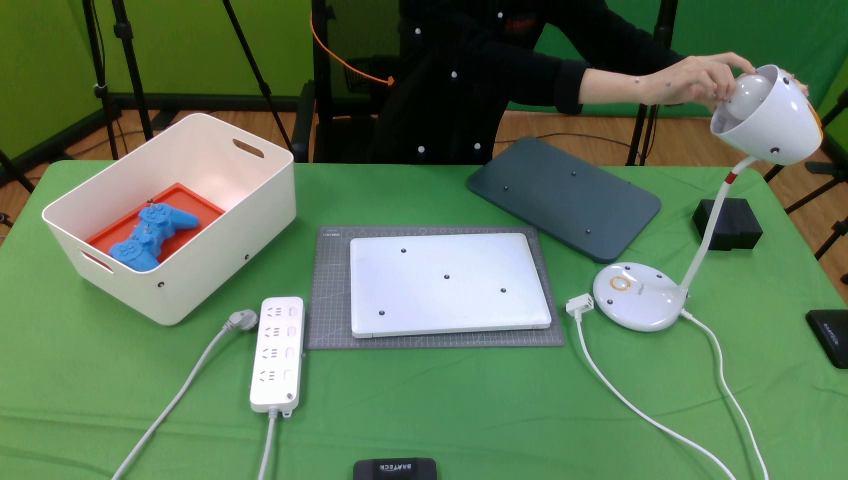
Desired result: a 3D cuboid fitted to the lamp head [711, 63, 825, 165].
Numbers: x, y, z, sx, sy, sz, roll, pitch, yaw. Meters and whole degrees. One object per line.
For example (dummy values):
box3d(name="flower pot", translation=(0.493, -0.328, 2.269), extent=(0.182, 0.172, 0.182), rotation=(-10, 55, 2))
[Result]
box3d(name="lamp head", translation=(0.466, -0.154, 0.812), extent=(0.123, 0.112, 0.112), rotation=(37, 47, -13))

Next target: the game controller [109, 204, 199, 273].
box3d(name="game controller", translation=(-0.467, -0.005, 1.044), extent=(0.097, 0.052, 0.154), rotation=(8, 45, 10))

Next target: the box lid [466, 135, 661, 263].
box3d(name="box lid", translation=(0.306, -0.102, 1.327), extent=(0.370, 0.015, 0.263), rotation=(32, 52, 25))

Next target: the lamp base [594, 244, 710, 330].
box3d(name="lamp base", translation=(0.412, 0.052, 1.070), extent=(0.179, 0.181, 0.160), rotation=(18, 48, 9))

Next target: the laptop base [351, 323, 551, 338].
box3d(name="laptop base", translation=(0.040, 0.080, 1.125), extent=(0.355, 0.023, 0.234), rotation=(-2, 43, -6))

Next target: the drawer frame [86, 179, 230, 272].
box3d(name="drawer frame", translation=(-0.453, 0.010, 1.100), extent=(0.201, 0.083, 0.213), rotation=(28, 55, 22))

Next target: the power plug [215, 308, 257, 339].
box3d(name="power plug", translation=(-0.317, 0.143, 1.024), extent=(0.072, 0.053, 0.035), rotation=(-32, 57, -9))

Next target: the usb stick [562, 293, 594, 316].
box3d(name="usb stick", translation=(0.274, 0.118, 1.087), extent=(0.021, 0.059, 0.027), rotation=(38, 45, -27))

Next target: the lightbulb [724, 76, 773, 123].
box3d(name="lightbulb", translation=(0.444, -0.167, 0.806), extent=(0.108, 0.059, 0.059), rotation=(53, 54, -9))

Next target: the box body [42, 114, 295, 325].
box3d(name="box body", translation=(-0.437, -0.046, 1.110), extent=(0.253, 0.161, 0.363), rotation=(24, 49, 19))

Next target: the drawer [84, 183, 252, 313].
box3d(name="drawer", translation=(-0.457, 0.008, 1.099), extent=(0.194, 0.073, 0.211), rotation=(29, 49, 21))

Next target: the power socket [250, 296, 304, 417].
box3d(name="power socket", translation=(-0.239, 0.182, 0.996), extent=(0.072, 0.033, 0.225), rotation=(-2, 47, -5))

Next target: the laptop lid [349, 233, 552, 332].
box3d(name="laptop lid", translation=(0.040, 0.070, 1.119), extent=(0.357, 0.013, 0.240), rotation=(-1, 44, -5))
